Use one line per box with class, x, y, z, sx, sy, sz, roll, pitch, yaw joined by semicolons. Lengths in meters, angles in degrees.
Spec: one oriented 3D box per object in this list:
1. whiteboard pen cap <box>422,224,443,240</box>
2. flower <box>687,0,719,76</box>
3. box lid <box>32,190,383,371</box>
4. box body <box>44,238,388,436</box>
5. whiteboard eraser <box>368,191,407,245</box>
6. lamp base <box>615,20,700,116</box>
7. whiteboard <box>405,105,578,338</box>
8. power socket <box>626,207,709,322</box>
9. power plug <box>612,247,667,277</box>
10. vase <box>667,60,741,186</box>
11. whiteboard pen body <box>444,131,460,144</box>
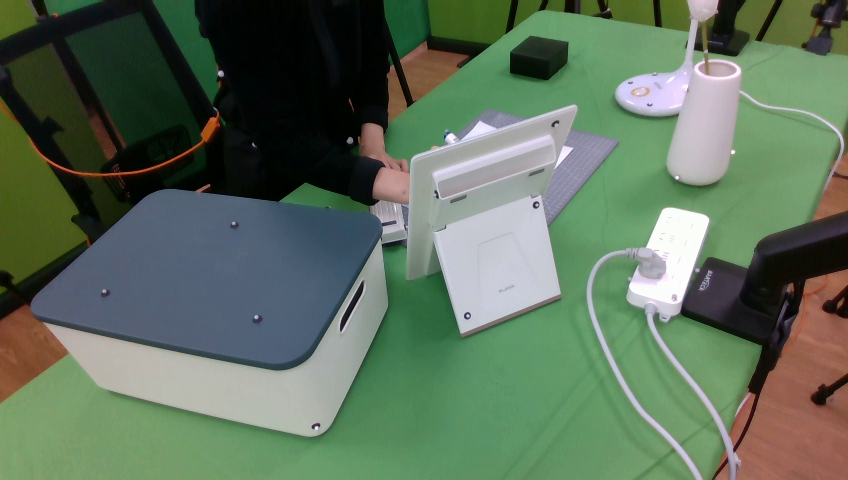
whiteboard pen cap;0.013;-0.013;0.988;0.033;0.018;0.018;-30;46;-21
flower;0.436;-0.242;0.934;0.038;0.364;0.043;-24;49;8
box lid;-0.257;0.032;0.750;0.370;0.015;0.263;7;41;16
box body;-0.251;0.088;0.799;0.362;0.161;0.254;7;42;16
whiteboard eraser;-0.061;-0.035;1.006;0.056;0.042;0.112;-9;40;-3
lamp base;0.484;-0.364;1.211;0.180;0.181;0.159;-15;41;-14
whiteboard;0.102;0.003;0.787;0.218;0.306;0.143;-19;62;-14
power socket;0.360;0.026;0.886;0.072;0.033;0.227;17;46;27
power plug;0.306;0.031;0.852;0.072;0.053;0.035;21;48;37
vase;0.463;-0.189;0.994;0.098;0.201;0.097;-4;40;4
whiteboard pen body;0.076;-0.109;0.864;0.017;0.017;0.140;-30;64;-25
